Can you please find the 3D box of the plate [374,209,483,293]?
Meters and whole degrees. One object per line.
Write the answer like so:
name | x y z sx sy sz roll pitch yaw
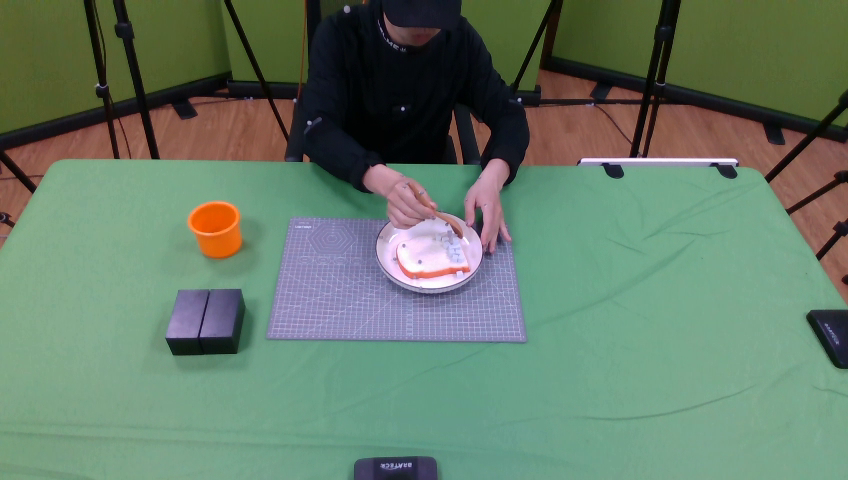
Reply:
plate | 0.009 0.024 1.160 0.209 0.038 0.208 2 46 -2

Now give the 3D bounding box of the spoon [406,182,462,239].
spoon | 0.021 -0.052 1.107 0.021 0.195 0.041 -48 48 4

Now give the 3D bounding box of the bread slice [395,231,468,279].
bread slice | 0.011 0.030 1.159 0.132 0.019 0.104 -8 47 -14
